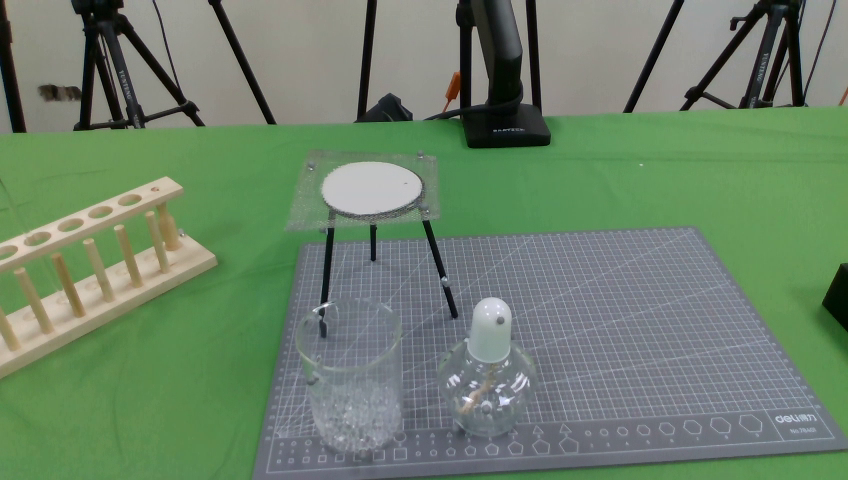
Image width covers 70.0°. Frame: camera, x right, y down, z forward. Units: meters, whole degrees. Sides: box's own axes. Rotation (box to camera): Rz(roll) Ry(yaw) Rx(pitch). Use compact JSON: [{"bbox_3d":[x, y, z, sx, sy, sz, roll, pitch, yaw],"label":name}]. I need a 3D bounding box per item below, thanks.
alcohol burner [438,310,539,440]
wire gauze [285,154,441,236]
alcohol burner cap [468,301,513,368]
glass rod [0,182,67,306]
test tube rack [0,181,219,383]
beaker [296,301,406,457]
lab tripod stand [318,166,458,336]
[{"bbox_3d":[0.049,0.094,0.455,0.078,0.120,0.077,0,38,0],"label":"alcohol burner"},{"bbox_3d":[-0.048,-0.043,0.515,0.121,0.011,0.124,0,36,-1],"label":"wire gauze"},{"bbox_3d":[0.049,0.065,0.434,0.034,0.048,0.033,1,38,-1],"label":"alcohol burner cap"},{"bbox_3d":[-0.362,-0.019,0.536,0.008,0.201,0.008,-5,33,4],"label":"glass rod"},{"bbox_3d":[-0.326,0.036,0.572,0.066,0.086,0.242,28,44,34],"label":"test tube rack"},{"bbox_3d":[-0.053,0.105,0.454,0.083,0.101,0.074,26,44,33],"label":"beaker"},{"bbox_3d":[-0.038,0.010,0.557,0.148,0.132,0.147,1,35,0],"label":"lab tripod stand"}]
